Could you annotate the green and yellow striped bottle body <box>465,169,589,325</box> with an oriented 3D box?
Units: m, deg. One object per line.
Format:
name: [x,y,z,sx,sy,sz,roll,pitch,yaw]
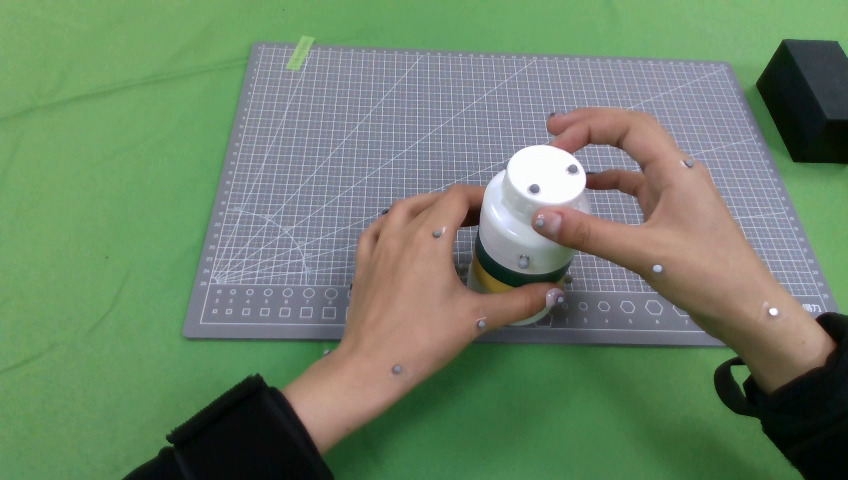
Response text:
green and yellow striped bottle body: [0.062,-0.001,0.375,0.063,0.120,0.062,2,55,-2]

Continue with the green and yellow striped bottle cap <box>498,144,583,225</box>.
green and yellow striped bottle cap: [0.064,-0.031,0.333,0.045,0.020,0.045,3,56,-4]
